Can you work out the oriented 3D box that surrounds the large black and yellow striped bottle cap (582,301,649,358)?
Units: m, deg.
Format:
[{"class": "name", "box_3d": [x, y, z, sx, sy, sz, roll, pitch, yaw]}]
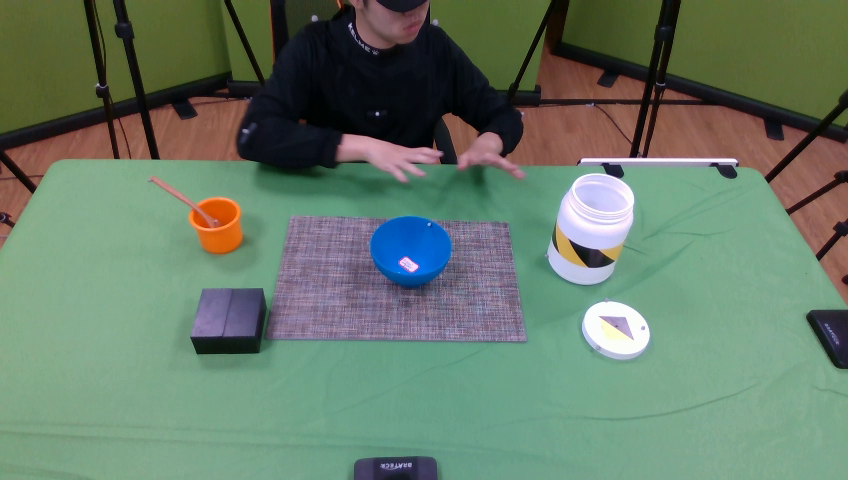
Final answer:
[{"class": "large black and yellow striped bottle cap", "box_3d": [0.340, 0.157, 1.077, 0.115, 0.019, 0.114, 1, 47, -1]}]

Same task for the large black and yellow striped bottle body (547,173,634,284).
[{"class": "large black and yellow striped bottle body", "box_3d": [0.310, -0.022, 1.130, 0.131, 0.185, 0.130, 2, 47, -2]}]

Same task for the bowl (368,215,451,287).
[{"class": "bowl", "box_3d": [-0.028, 0.033, 1.119, 0.151, 0.077, 0.150, 2, 46, -2]}]

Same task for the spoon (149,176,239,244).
[{"class": "spoon", "box_3d": [-0.427, -0.057, 1.132, 0.021, 0.195, 0.041, -27, 31, 34]}]
